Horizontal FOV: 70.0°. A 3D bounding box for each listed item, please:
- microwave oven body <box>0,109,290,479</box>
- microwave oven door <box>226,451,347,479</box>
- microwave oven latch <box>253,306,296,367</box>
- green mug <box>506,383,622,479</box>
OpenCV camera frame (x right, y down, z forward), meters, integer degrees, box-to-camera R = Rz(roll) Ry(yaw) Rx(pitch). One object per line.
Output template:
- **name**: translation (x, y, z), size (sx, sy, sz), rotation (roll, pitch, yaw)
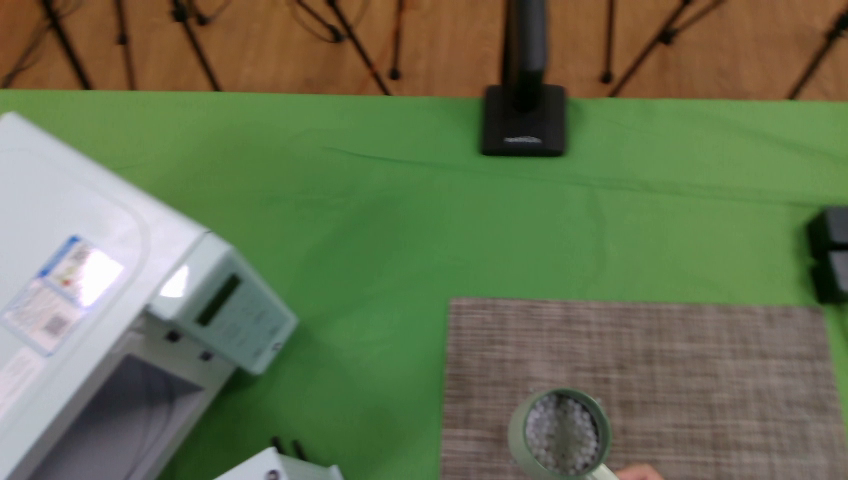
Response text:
- **microwave oven body**: translation (-0.411, 0.148, 0.622), size (0.324, 0.262, 0.440), rotation (28, 72, 14)
- **microwave oven door**: translation (-0.252, 0.297, 0.541), size (0.356, 0.245, 0.039), rotation (-30, 68, -9)
- **microwave oven latch**: translation (-0.186, 0.111, 0.727), size (0.030, 0.030, 0.079), rotation (30, 73, 15)
- **green mug**: translation (0.140, 0.196, 0.584), size (0.092, 0.105, 0.124), rotation (-43, 74, -12)
